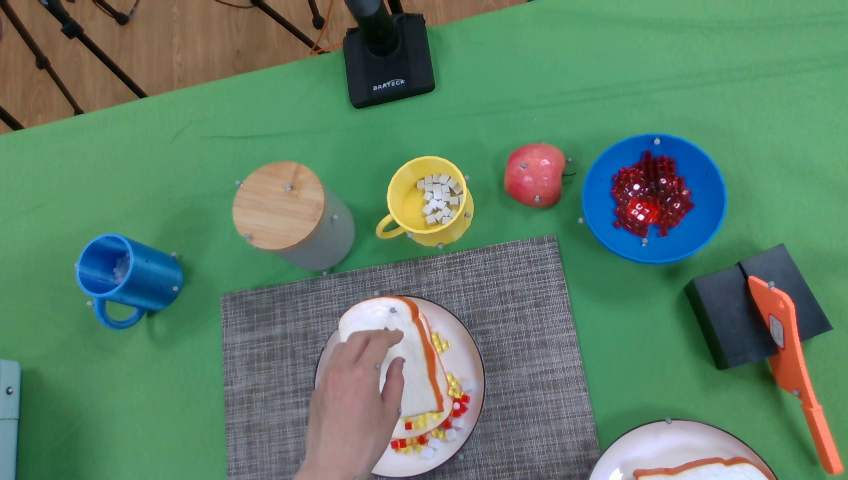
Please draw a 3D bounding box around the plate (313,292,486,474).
[{"bbox_3d":[-0.028,0.167,0.721,0.207,0.039,0.206,-3,76,11],"label":"plate"}]

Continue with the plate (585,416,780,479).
[{"bbox_3d":[0.269,0.290,0.630,0.209,0.038,0.208,-3,75,12],"label":"plate"}]

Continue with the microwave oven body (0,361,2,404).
[{"bbox_3d":[-0.706,0.366,0.693,0.326,0.262,0.439,-10,74,9],"label":"microwave oven body"}]

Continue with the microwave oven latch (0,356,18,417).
[{"bbox_3d":[-0.566,0.196,0.809,0.030,0.030,0.078,-7,75,10],"label":"microwave oven latch"}]

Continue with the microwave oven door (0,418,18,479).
[{"bbox_3d":[-0.560,0.378,0.653,0.039,0.245,0.353,-11,73,10],"label":"microwave oven door"}]

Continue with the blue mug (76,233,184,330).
[{"bbox_3d":[-0.385,0.060,0.791,0.082,0.106,0.116,10,78,14],"label":"blue mug"}]

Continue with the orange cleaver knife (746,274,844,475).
[{"bbox_3d":[0.379,0.136,0.624,0.012,0.077,0.211,-20,94,-1],"label":"orange cleaver knife"}]

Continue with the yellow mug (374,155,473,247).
[{"bbox_3d":[-0.005,-0.039,0.759,0.131,0.064,0.099,-32,71,3],"label":"yellow mug"}]

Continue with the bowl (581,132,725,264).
[{"bbox_3d":[0.256,-0.039,0.697,0.151,0.077,0.150,-3,75,12],"label":"bowl"}]

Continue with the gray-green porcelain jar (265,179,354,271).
[{"bbox_3d":[-0.150,-0.021,0.752,0.105,0.127,0.105,-3,75,11],"label":"gray-green porcelain jar"}]

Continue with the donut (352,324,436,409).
[{"bbox_3d":[-0.035,0.145,0.698,0.099,0.048,0.098,-3,75,12],"label":"donut"}]

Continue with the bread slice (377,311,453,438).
[{"bbox_3d":[-0.023,0.164,0.720,0.107,0.018,0.133,-28,74,5],"label":"bread slice"}]

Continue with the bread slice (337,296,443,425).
[{"bbox_3d":[-0.044,0.126,0.640,0.105,0.019,0.131,-15,82,16],"label":"bread slice"}]

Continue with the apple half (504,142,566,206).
[{"bbox_3d":[0.136,-0.087,0.748,0.074,0.054,0.080,12,79,17],"label":"apple half"}]

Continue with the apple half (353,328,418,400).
[{"bbox_3d":[-0.045,0.135,0.665,0.081,0.033,0.081,-5,72,16],"label":"apple half"}]

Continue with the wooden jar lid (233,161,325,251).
[{"bbox_3d":[-0.164,-0.037,0.692,0.108,0.021,0.107,-3,73,9],"label":"wooden jar lid"}]
